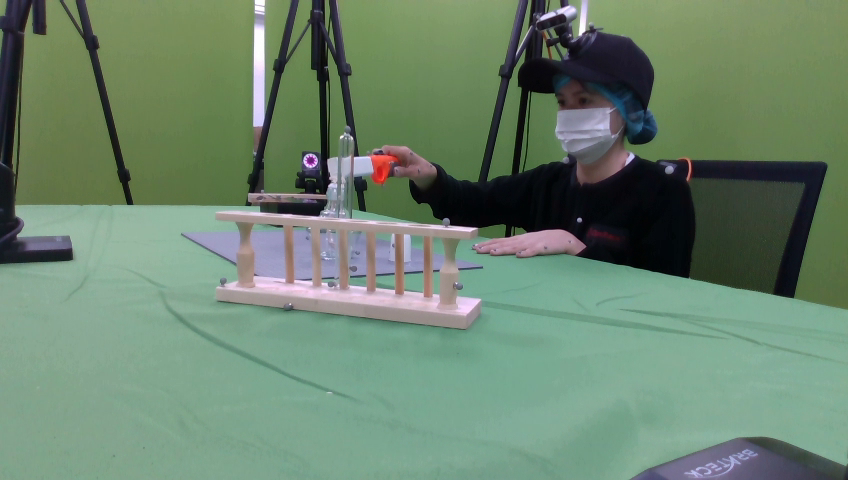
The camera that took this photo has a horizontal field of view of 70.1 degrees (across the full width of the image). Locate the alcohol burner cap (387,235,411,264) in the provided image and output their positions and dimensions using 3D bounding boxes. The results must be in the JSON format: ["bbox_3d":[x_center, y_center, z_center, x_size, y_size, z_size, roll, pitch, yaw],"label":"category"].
[{"bbox_3d":[-0.035,0.009,0.839,0.034,0.048,0.034,2,6,0],"label":"alcohol burner cap"}]

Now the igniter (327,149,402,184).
[{"bbox_3d":[-0.088,-0.118,0.975,0.025,0.057,0.277,-10,5,17],"label":"igniter"}]

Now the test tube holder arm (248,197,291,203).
[{"bbox_3d":[-0.303,-0.080,1.191,0.088,0.010,0.015,-7,18,-39],"label":"test tube holder arm"}]

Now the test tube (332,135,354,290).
[{"bbox_3d":[-0.078,-0.025,0.581,0.017,0.150,0.017,3,7,0],"label":"test tube"}]

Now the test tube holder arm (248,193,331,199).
[{"bbox_3d":[-0.268,-0.089,1.218,0.179,0.013,0.015,-6,18,-40],"label":"test tube holder arm"}]

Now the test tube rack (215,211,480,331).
[{"bbox_3d":[-0.071,0.022,0.565,0.242,0.085,0.067,5,7,16],"label":"test tube rack"}]

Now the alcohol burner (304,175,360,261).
[{"bbox_3d":[-0.126,-0.031,0.838,0.078,0.119,0.078,3,5,0],"label":"alcohol burner"}]
